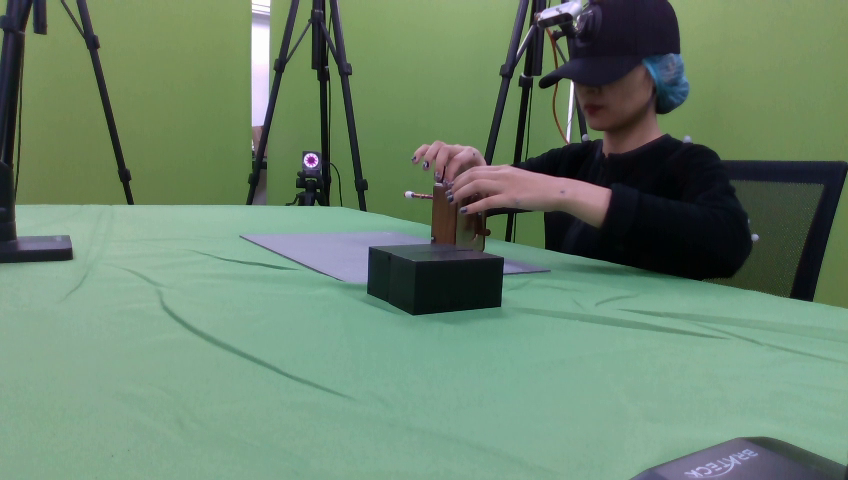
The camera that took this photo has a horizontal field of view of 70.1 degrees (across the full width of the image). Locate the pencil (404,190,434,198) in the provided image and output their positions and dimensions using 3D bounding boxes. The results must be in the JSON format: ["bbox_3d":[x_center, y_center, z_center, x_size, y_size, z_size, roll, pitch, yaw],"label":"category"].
[{"bbox_3d":[0.017,-0.073,1.008,0.012,0.012,0.193,-2,8,-31],"label":"pencil"}]

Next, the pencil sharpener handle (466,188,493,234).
[{"bbox_3d":[0.087,-0.042,0.900,0.036,0.068,0.030,-16,16,-29],"label":"pencil sharpener handle"}]

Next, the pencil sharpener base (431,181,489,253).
[{"bbox_3d":[0.057,-0.036,0.943,0.062,0.107,0.076,-2,9,-31],"label":"pencil sharpener base"}]
